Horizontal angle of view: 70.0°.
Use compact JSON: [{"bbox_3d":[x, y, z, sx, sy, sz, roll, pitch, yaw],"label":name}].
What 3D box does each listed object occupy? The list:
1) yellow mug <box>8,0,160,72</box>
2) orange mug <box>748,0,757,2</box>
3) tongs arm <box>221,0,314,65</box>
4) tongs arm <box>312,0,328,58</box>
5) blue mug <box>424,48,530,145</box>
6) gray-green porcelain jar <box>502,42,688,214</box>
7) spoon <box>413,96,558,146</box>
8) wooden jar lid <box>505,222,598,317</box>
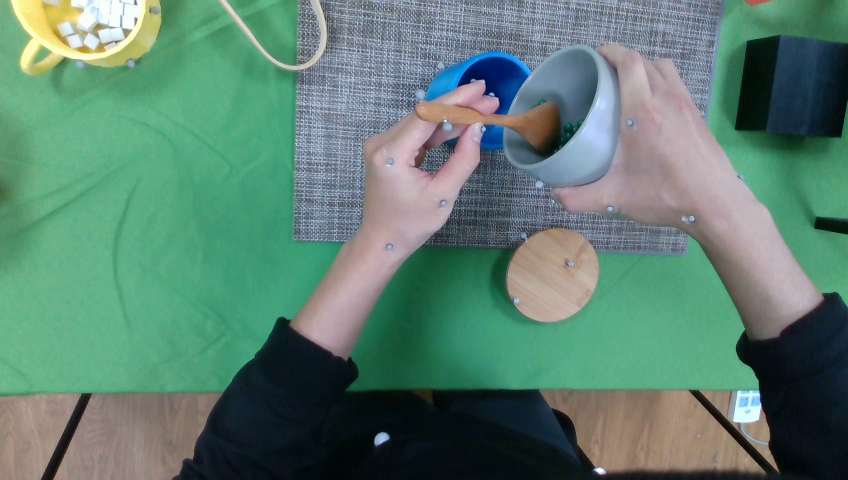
[{"bbox_3d":[-0.291,-0.190,0.507,0.100,0.063,0.131,42,91,-17],"label":"yellow mug"},{"bbox_3d":[0.380,-0.309,0.618,0.084,0.100,0.126,25,90,-16],"label":"orange mug"},{"bbox_3d":[-0.223,-0.305,0.493,0.051,0.026,0.388,-37,114,-7],"label":"tongs arm"},{"bbox_3d":[-0.152,-0.348,0.504,0.028,0.027,0.390,-25,113,-15],"label":"tongs arm"},{"bbox_3d":[0.064,-0.125,0.577,0.117,0.105,0.082,28,94,-17],"label":"blue mug"},{"bbox_3d":[0.146,-0.086,0.505,0.127,0.105,0.106,23,96,-30],"label":"gray-green porcelain jar"},{"bbox_3d":[0.054,-0.093,0.456,0.195,0.021,0.042,-8,117,-48],"label":"spoon"},{"bbox_3d":[0.140,0.032,0.674,0.108,0.020,0.109,-3,105,-10],"label":"wooden jar lid"}]
